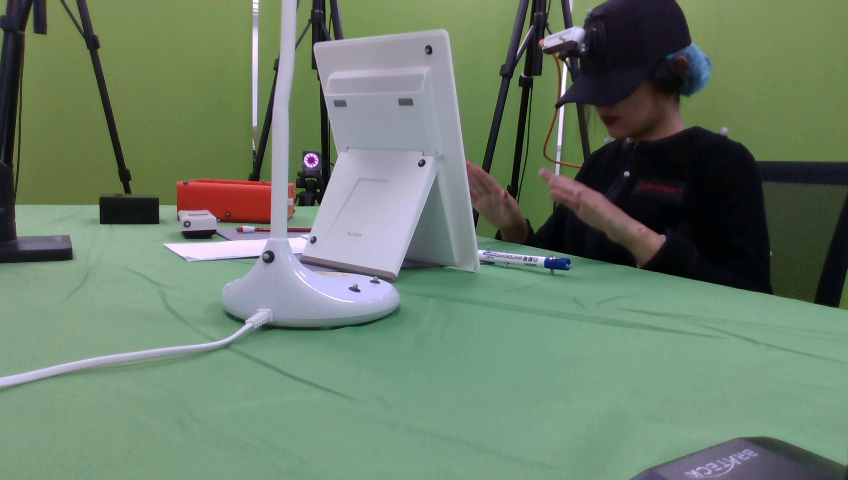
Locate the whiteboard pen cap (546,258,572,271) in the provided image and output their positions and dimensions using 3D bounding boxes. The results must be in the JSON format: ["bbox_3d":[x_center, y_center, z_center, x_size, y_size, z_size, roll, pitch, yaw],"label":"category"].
[{"bbox_3d":[0.175,0.032,0.790,0.033,0.018,0.018,4,7,38],"label":"whiteboard pen cap"}]

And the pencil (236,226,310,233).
[{"bbox_3d":[-0.239,-0.017,1.093,0.195,0.012,0.012,1,7,-27],"label":"pencil"}]

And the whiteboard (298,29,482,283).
[{"bbox_3d":[-0.075,-0.082,0.742,0.216,0.305,0.144,9,29,37],"label":"whiteboard"}]

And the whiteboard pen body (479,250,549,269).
[{"bbox_3d":[0.130,0.028,0.827,0.140,0.017,0.017,6,8,38],"label":"whiteboard pen body"}]

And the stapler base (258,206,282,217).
[{"bbox_3d":[-0.331,-0.064,1.305,0.041,0.024,0.130,9,-2,-9],"label":"stapler base"}]

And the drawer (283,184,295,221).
[{"bbox_3d":[-0.394,-0.086,1.317,0.212,0.073,0.194,1,8,-7],"label":"drawer"}]

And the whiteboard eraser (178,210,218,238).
[{"bbox_3d":[-0.380,-0.027,1.014,0.056,0.042,0.112,0,8,-25],"label":"whiteboard eraser"}]

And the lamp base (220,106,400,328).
[{"bbox_3d":[-0.101,-0.023,0.531,0.160,0.180,0.179,4,10,10],"label":"lamp base"}]

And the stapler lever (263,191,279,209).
[{"bbox_3d":[-0.329,-0.085,1.306,0.027,0.040,0.118,9,2,-9],"label":"stapler lever"}]

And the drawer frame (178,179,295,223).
[{"bbox_3d":[-0.397,-0.088,1.315,0.214,0.082,0.201,1,8,-7],"label":"drawer frame"}]
